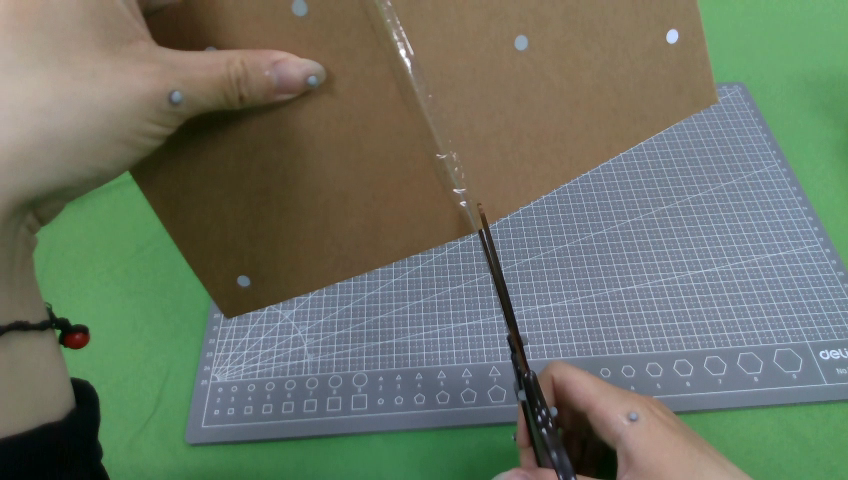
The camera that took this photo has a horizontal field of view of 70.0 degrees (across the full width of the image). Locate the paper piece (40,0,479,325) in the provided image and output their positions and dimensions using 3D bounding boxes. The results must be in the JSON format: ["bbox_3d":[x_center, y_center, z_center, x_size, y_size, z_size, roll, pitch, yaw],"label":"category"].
[{"bbox_3d":[-0.065,-0.036,0.261,0.138,0.137,0.008,-21,24,10],"label":"paper piece"}]

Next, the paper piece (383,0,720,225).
[{"bbox_3d":[0.057,-0.091,0.252,0.136,0.136,0.004,-27,27,-5],"label":"paper piece"}]

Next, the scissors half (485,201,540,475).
[{"bbox_3d":[0.047,0.055,0.303,0.013,0.177,0.039,-16,35,0],"label":"scissors half"}]

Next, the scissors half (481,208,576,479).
[{"bbox_3d":[0.049,0.062,0.281,0.013,0.040,0.175,-17,92,-5],"label":"scissors half"}]
